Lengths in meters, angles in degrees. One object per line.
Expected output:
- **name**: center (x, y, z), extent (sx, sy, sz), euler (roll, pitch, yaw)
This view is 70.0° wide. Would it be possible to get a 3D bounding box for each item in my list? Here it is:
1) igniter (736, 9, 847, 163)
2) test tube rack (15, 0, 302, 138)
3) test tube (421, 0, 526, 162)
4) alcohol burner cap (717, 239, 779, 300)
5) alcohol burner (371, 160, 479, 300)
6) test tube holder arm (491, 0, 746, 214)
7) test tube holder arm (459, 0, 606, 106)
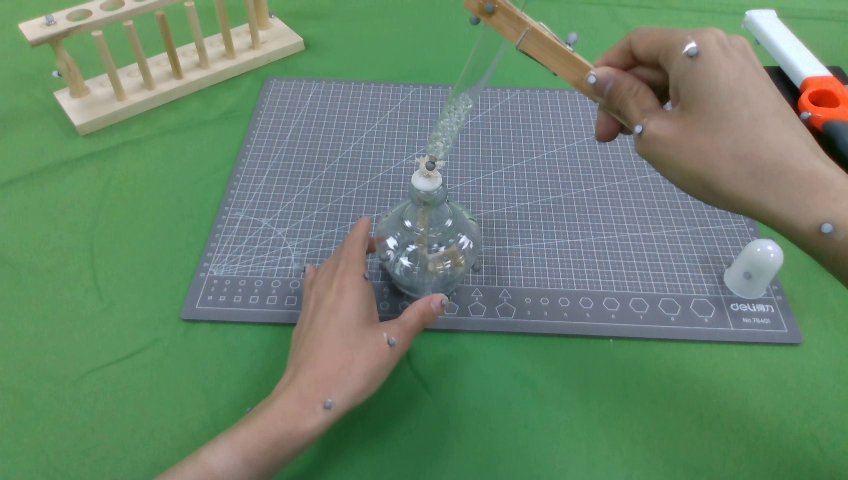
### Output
- **igniter**: center (0.349, -0.133, 0.539), extent (0.057, 0.025, 0.273), euler (-3, 47, -1)
- **test tube rack**: center (-0.248, -0.198, 0.600), extent (0.242, 0.086, 0.066), euler (-31, 57, -25)
- **test tube**: center (0.034, -0.106, 0.330), extent (0.017, 0.151, 0.017), euler (21, 30, -13)
- **alcohol burner cap**: center (0.245, 0.019, 0.454), extent (0.034, 0.048, 0.033), euler (2, 49, -1)
- **alcohol burner**: center (0.001, -0.012, 0.426), extent (0.078, 0.120, 0.077), euler (0, 51, 0)
- **test tube holder arm**: center (0.094, -0.075, 0.319), extent (0.178, 0.015, 0.013), euler (40, 35, 6)
- **test tube holder arm**: center (0.057, -0.101, 0.318), extent (0.088, 0.015, 0.010), euler (36, 34, 0)
